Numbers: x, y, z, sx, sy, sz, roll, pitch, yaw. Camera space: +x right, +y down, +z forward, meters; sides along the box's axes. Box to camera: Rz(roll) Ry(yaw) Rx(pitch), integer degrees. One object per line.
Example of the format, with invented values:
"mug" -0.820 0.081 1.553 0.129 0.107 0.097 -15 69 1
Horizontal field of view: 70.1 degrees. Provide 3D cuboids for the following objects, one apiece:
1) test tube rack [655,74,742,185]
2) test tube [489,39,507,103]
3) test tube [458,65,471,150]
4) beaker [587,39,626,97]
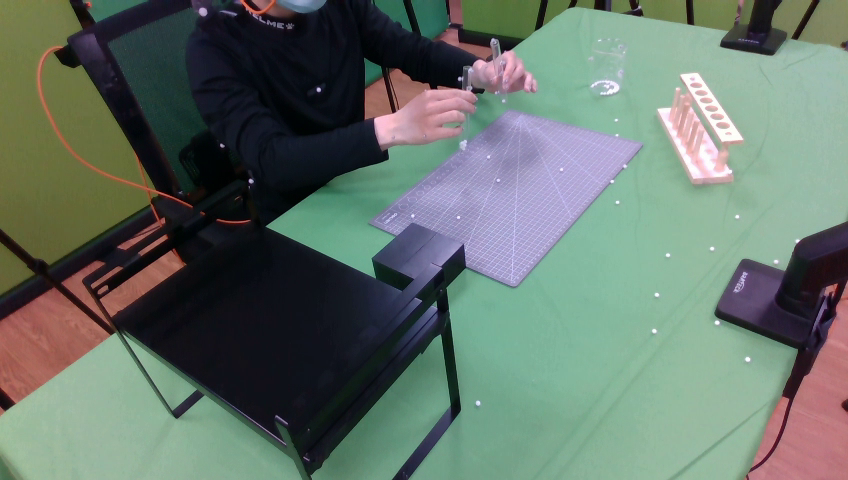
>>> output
"test tube rack" 0.488 -0.205 1.093 0.067 0.085 0.241 -3 41 5
"test tube" 0.137 -0.305 1.104 0.017 0.151 0.017 -6 59 11
"test tube" 0.069 -0.224 1.038 0.017 0.150 0.017 1 32 0
"beaker" 0.386 -0.361 1.280 0.074 0.101 0.083 -22 43 -15
